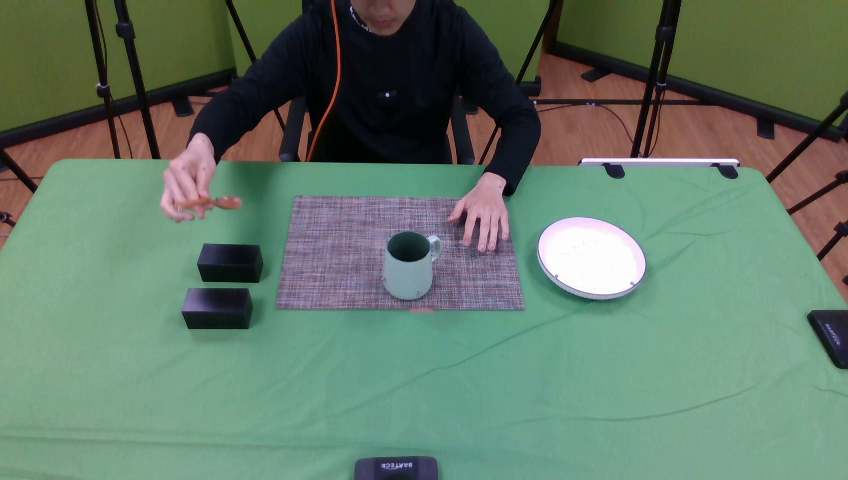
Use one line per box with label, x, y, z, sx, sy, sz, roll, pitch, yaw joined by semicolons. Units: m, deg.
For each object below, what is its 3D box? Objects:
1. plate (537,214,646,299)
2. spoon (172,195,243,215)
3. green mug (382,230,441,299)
plate;0.321;0.035;1.176;0.209;0.038;0.208;2;47;-2
spoon;-0.346;-0.057;0.970;0.041;0.021;0.193;27;9;6
green mug;-0.017;0.037;1.097;0.125;0.105;0.092;-34;57;-31
